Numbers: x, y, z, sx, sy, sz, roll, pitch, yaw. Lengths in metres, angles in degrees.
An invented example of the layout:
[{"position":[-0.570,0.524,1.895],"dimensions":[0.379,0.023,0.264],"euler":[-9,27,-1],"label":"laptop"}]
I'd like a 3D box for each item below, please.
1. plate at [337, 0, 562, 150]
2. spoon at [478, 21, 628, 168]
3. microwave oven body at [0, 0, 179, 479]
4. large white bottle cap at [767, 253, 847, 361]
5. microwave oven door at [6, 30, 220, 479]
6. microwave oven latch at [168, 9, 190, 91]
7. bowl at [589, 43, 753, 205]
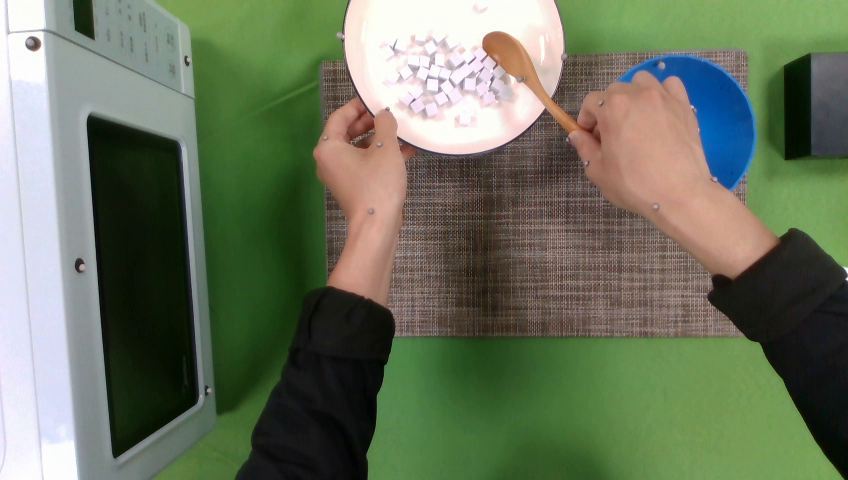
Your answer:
[{"position":[0.024,-0.187,0.572],"dimensions":[0.209,0.038,0.209],"euler":[0,91,-7],"label":"plate"},{"position":[0.111,-0.129,0.538],"dimensions":[0.021,0.042,0.192],"euler":[-27,67,-21],"label":"spoon"},{"position":[-0.407,-0.007,0.550],"dimensions":[0.326,0.260,0.442],"euler":[-3,93,2],"label":"microwave oven body"},{"position":[0.424,0.071,0.639],"dimensions":[0.115,0.018,0.115],"euler":[0,93,2],"label":"large white bottle cap"},{"position":[-0.258,0.027,0.540],"dimensions":[0.039,0.243,0.356],"euler":[-4,93,4],"label":"microwave oven door"},{"position":[-0.264,-0.196,0.629],"dimensions":[0.030,0.029,0.079],"euler":[-3,94,2],"label":"microwave oven latch"},{"position":[0.234,-0.109,0.604],"dimensions":[0.151,0.077,0.151],"euler":[0,94,4],"label":"bowl"}]
